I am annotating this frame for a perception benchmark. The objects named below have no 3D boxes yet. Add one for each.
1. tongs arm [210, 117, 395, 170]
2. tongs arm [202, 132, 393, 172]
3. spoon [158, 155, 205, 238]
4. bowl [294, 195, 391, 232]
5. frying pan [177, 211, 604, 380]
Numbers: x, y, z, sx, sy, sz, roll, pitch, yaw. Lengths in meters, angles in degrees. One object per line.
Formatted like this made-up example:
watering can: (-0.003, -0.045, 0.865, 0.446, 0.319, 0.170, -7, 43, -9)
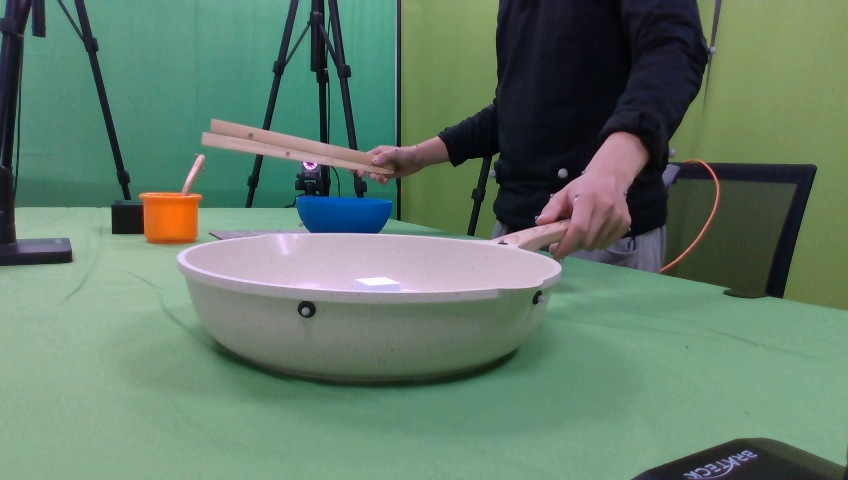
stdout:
tongs arm: (-0.217, -0.182, 1.173, 0.390, 0.027, 0.028, 8, -10, -34)
tongs arm: (-0.251, -0.181, 1.243, 0.387, 0.026, 0.050, 7, -6, -22)
spoon: (-0.392, -0.076, 0.998, 0.041, 0.193, 0.021, 1, -36, 6)
bowl: (-0.127, -0.027, 0.946, 0.151, 0.077, 0.151, 2, 7, 0)
frying pan: (0.034, 0.019, 0.556, 0.490, 0.102, 0.305, -15, 18, -42)
